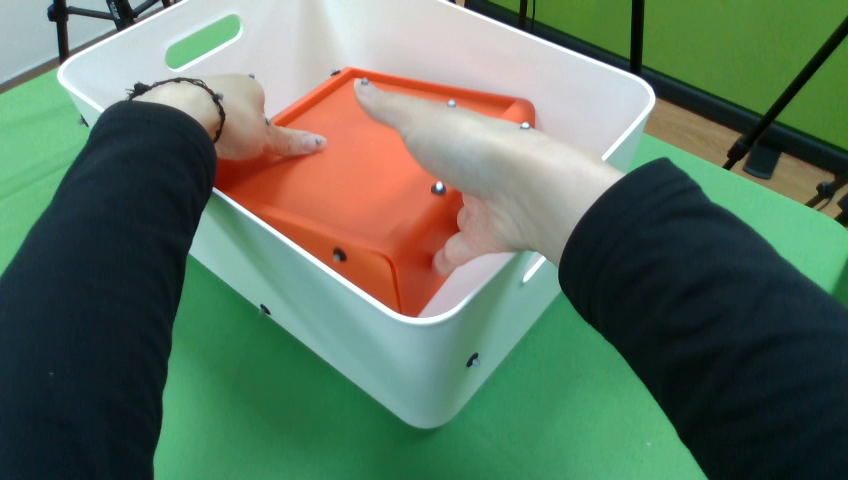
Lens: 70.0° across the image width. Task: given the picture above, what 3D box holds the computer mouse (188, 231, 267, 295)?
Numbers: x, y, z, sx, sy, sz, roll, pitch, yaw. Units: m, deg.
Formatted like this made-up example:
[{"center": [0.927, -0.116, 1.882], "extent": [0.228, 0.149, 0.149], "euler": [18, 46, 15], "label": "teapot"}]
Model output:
[{"center": [-0.109, 0.008, 0.441], "extent": [0.117, 0.041, 0.062], "euler": [4, 46, -3], "label": "computer mouse"}]

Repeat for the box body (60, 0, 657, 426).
[{"center": [-0.052, -0.061, 0.481], "extent": [0.361, 0.162, 0.253], "euler": [32, 57, 25], "label": "box body"}]

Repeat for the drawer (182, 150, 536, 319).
[{"center": [-0.043, -0.040, 0.491], "extent": [0.193, 0.074, 0.211], "euler": [23, 39, 25], "label": "drawer"}]

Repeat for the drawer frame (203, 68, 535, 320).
[{"center": [-0.046, -0.049, 0.488], "extent": [0.200, 0.083, 0.213], "euler": [17, 45, 27], "label": "drawer frame"}]
